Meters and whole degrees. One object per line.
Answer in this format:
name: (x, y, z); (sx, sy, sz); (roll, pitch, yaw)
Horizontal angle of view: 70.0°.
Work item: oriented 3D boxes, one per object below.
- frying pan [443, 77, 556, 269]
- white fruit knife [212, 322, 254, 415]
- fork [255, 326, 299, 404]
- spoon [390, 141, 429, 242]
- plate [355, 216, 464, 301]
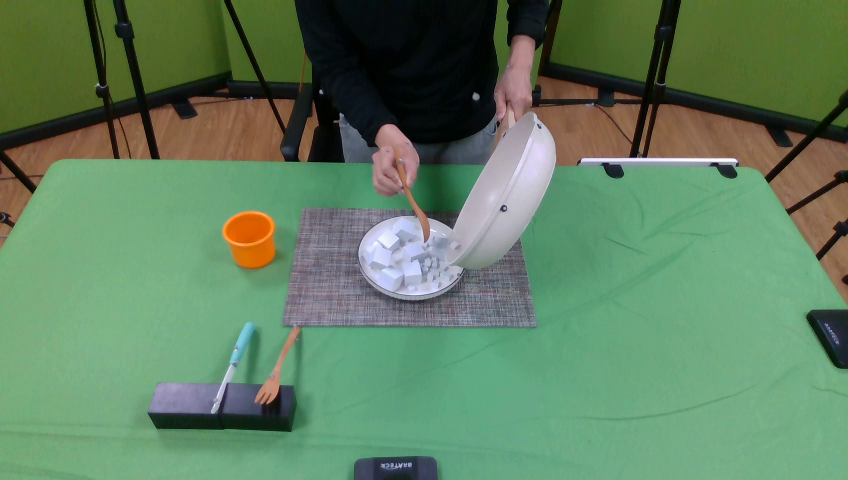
frying pan: (0.144, -0.152, 1.093); (0.103, 0.307, 0.485); (22, 49, -14)
white fruit knife: (-0.298, 0.193, 0.947); (0.016, 0.027, 0.206); (2, 31, -1)
fork: (-0.226, 0.192, 0.955); (0.028, 0.019, 0.206); (0, 27, 4)
spoon: (-0.026, -0.081, 1.055); (0.021, 0.194, 0.041); (-16, 27, 15)
plate: (-0.025, 0.038, 1.144); (0.208, 0.039, 0.206); (3, 46, -3)
